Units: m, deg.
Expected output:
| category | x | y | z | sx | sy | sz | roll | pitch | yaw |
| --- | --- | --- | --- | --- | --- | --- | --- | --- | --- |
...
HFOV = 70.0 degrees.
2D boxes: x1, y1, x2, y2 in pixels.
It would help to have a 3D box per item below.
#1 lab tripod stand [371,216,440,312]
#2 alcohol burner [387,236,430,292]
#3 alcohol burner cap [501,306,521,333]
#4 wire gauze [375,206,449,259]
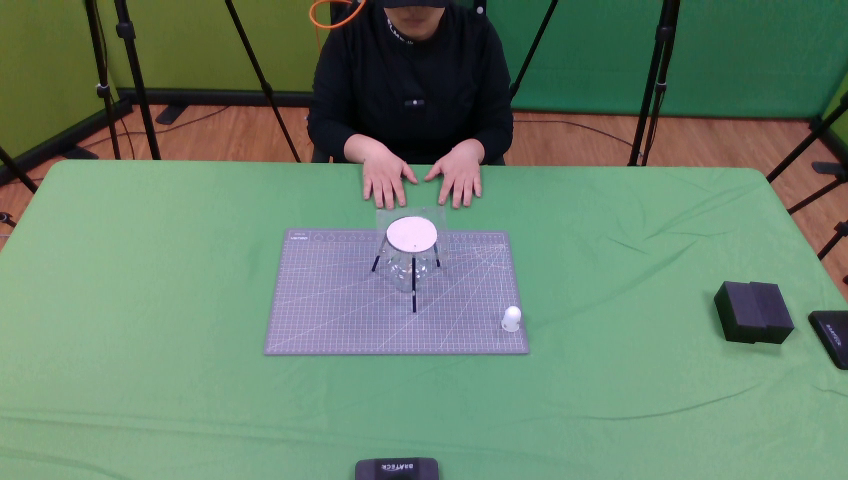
| category | x | y | z | sx | sy | sz | roll | pitch | yaw |
| --- | --- | --- | --- | --- | --- | --- | --- | --- | --- |
| lab tripod stand | -0.029 | 0.033 | 1.084 | 0.148 | 0.132 | 0.147 | 1 | 47 | -1 |
| alcohol burner | -0.028 | 0.038 | 1.093 | 0.078 | 0.120 | 0.077 | 1 | 46 | -1 |
| alcohol burner cap | 0.155 | 0.137 | 1.061 | 0.034 | 0.048 | 0.033 | 2 | 45 | -1 |
| wire gauze | -0.022 | -0.014 | 1.035 | 0.125 | 0.011 | 0.120 | -1 | 46 | -3 |
